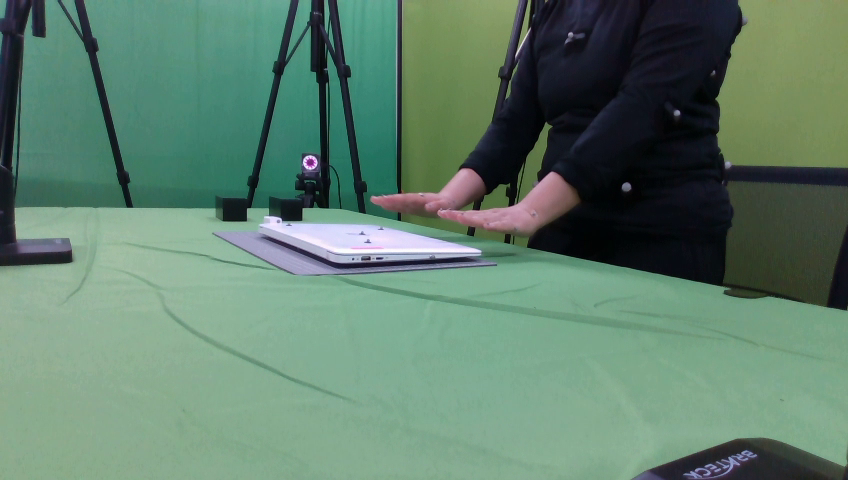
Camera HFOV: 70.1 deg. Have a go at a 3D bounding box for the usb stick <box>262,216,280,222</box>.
[{"bbox_3d":[-0.271,-0.028,1.079,0.021,0.027,0.059,-1,10,-29],"label":"usb stick"}]

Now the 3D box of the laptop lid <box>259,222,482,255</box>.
[{"bbox_3d":[-0.100,-0.005,0.961,0.243,0.013,0.355,1,7,-30],"label":"laptop lid"}]

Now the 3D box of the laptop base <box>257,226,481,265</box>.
[{"bbox_3d":[-0.103,0.007,0.961,0.237,0.023,0.352,2,6,-32],"label":"laptop base"}]
